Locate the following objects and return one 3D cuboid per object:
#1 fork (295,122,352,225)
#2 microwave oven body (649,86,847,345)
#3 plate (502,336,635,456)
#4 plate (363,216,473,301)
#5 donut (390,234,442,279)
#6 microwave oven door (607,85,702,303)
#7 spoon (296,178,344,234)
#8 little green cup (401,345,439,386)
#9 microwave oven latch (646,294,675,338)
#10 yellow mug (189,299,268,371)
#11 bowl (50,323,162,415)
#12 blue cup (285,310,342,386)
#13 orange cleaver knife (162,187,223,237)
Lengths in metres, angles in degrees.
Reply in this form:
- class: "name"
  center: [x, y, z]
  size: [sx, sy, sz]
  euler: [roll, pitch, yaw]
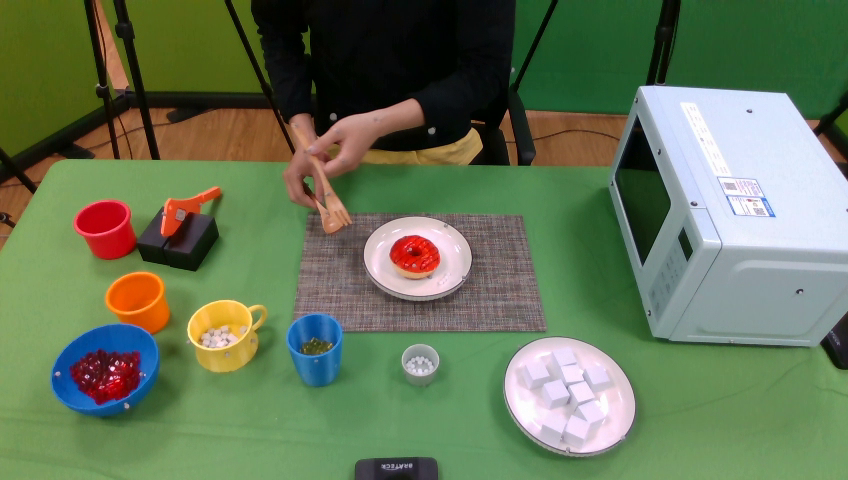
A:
- class: "fork"
  center: [-0.167, -0.110, 0.984]
  size: [0.028, 0.018, 0.206]
  euler: [-19, 73, -26]
- class: "microwave oven body"
  center: [0.568, -0.053, 1.118]
  size: [0.326, 0.261, 0.439]
  euler: [2, 45, -1]
- class: "plate"
  center: [0.225, 0.248, 0.963]
  size: [0.208, 0.039, 0.206]
  euler: [2, 46, -2]
- class: "plate"
  center: [-0.012, 0.038, 1.144]
  size: [0.209, 0.038, 0.208]
  euler: [2, 46, -2]
- class: "donut"
  center: [-0.016, 0.031, 1.135]
  size: [0.099, 0.048, 0.098]
  euler: [4, 45, -3]
- class: "microwave oven door"
  center: [0.424, -0.094, 1.141]
  size: [0.039, 0.245, 0.353]
  euler: [2, 46, -1]
- class: "spoon"
  center: [-0.209, -0.072, 1.189]
  size: [0.041, 0.022, 0.192]
  euler: [-39, 55, -3]
- class: "little green cup"
  center: [-0.007, 0.206, 0.988]
  size: [0.061, 0.039, 0.061]
  euler: [2, 46, -2]
- class: "microwave oven latch"
  center: [0.412, 0.134, 1.061]
  size: [0.030, 0.029, 0.078]
  euler: [4, 45, 1]
- class: "yellow mug"
  center: [-0.316, 0.148, 1.002]
  size: [0.131, 0.064, 0.099]
  euler: [-33, 56, -31]
- class: "bowl"
  center: [-0.472, 0.209, 0.924]
  size: [0.151, 0.077, 0.150]
  euler: [2, 45, -2]
- class: "blue cup"
  center: [-0.170, 0.179, 0.958]
  size: [0.093, 0.101, 0.092]
  euler: [2, 44, -1]
- class: "orange cleaver knife"
  center: [-0.448, -0.058, 1.181]
  size: [0.012, 0.077, 0.211]
  euler: [13, 17, 6]
